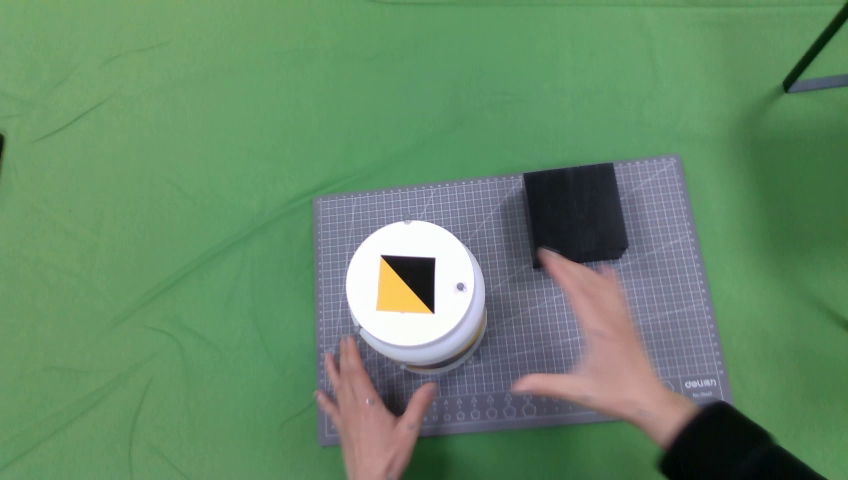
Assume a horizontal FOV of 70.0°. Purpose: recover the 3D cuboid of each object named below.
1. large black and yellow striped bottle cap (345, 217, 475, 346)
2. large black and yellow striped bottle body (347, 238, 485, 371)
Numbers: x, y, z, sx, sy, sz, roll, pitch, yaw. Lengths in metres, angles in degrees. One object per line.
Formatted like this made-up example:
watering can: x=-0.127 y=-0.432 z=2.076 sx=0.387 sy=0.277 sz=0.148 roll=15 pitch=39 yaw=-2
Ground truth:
large black and yellow striped bottle cap: x=-0.012 y=0.035 z=0.534 sx=0.115 sy=0.019 sz=0.114 roll=-2 pitch=74 yaw=7
large black and yellow striped bottle body: x=-0.004 y=0.060 z=0.614 sx=0.130 sy=0.185 sz=0.130 roll=-2 pitch=73 yaw=5
